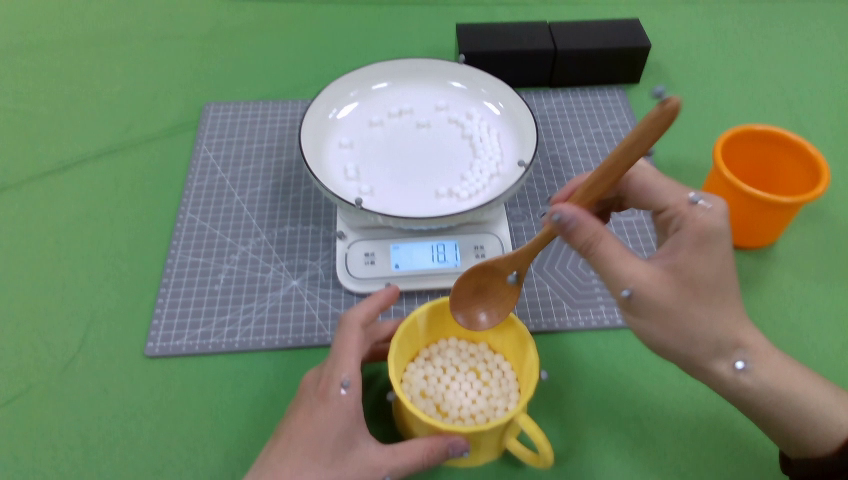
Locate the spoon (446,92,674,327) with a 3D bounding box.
[{"bbox_3d":[0.070,-0.008,0.345,0.041,0.194,0.021,40,43,1],"label":"spoon"}]

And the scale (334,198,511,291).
[{"bbox_3d":[-0.006,-0.047,0.545,0.149,0.032,0.199,-4,53,-2],"label":"scale"}]

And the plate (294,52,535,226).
[{"bbox_3d":[-0.008,-0.090,0.537,0.209,0.038,0.207,1,53,-1],"label":"plate"}]

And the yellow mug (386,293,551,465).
[{"bbox_3d":[0.036,0.103,0.415,0.100,0.064,0.130,-39,63,-23],"label":"yellow mug"}]
